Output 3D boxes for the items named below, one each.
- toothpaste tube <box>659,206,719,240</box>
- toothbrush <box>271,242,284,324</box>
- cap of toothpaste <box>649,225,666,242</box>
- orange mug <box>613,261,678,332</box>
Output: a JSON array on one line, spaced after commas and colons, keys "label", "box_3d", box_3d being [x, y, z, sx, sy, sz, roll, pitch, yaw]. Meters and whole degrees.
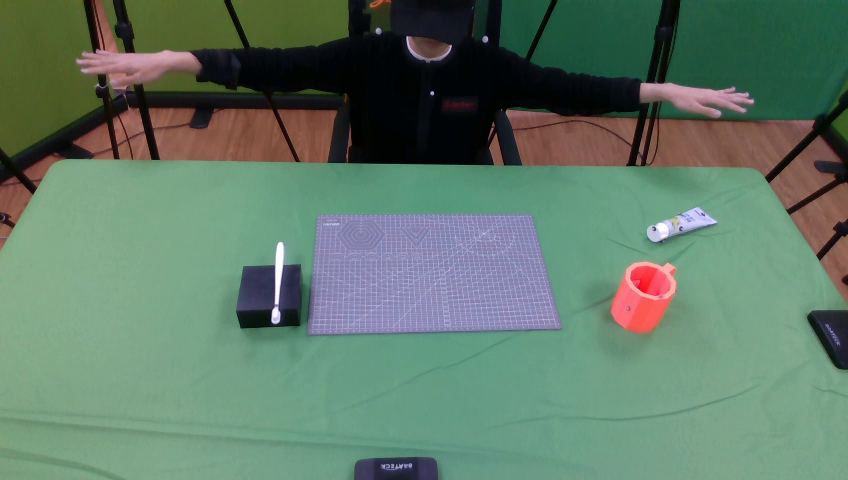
[{"label": "toothpaste tube", "box_3d": [0.542, -0.035, 1.259, 0.165, 0.034, 0.054, -19, 55, -26]}, {"label": "toothbrush", "box_3d": [-0.253, 0.068, 1.048, 0.014, 0.017, 0.180, -5, 46, -4]}, {"label": "cap of toothpaste", "box_3d": [0.473, -0.015, 1.226, 0.011, 0.037, 0.037, -20, 51, -26]}, {"label": "orange mug", "box_3d": [0.403, 0.091, 1.078, 0.126, 0.101, 0.083, -33, 56, -25]}]
